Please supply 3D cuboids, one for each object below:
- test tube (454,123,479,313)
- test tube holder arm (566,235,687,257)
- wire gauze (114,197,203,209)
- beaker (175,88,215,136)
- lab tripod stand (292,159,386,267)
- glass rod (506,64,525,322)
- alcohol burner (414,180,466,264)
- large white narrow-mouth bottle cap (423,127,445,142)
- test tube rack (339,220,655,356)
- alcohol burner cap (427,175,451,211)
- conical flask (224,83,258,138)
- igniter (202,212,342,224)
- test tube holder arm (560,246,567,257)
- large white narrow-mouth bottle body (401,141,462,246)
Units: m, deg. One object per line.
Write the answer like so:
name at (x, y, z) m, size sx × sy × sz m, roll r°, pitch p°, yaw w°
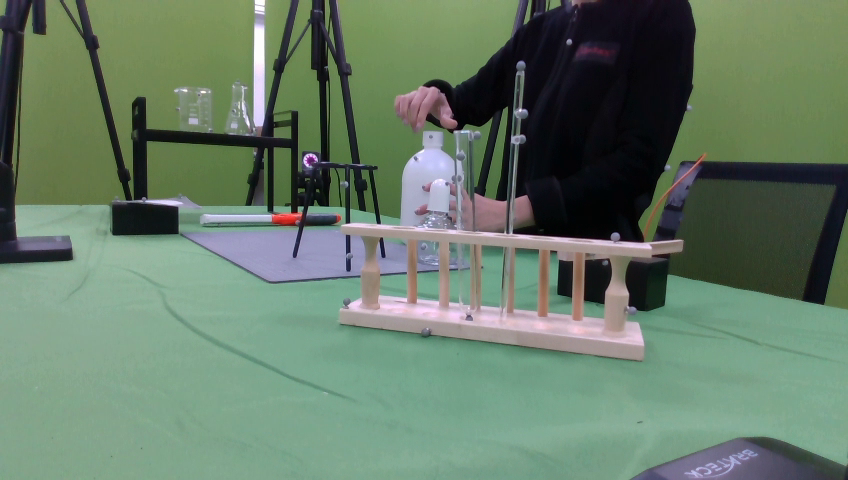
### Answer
test tube at (0.034, -0.016, 0.477) m, size 0.017 × 0.150 × 0.017 m, roll -2°, pitch 9°, yaw 1°
test tube holder arm at (0.215, 0.006, 0.630) m, size 0.179 × 0.015 × 0.013 m, roll -3°, pitch 9°, yaw -31°
wire gauze at (-0.447, -0.062, 1.015) m, size 0.126 × 0.011 × 0.121 m, roll -2°, pitch 8°, yaw -31°
beaker at (-0.511, -0.285, 1.353) m, size 0.084 × 0.100 × 0.073 m, roll -2°, pitch 8°, yaw -25°
lab tripod stand at (-0.105, -0.039, 0.798) m, size 0.148 × 0.131 × 0.148 m, roll 2°, pitch 5°, yaw 0°
glass rod at (0.069, -0.030, 0.458) m, size 0.008 × 0.199 × 0.008 m, roll 0°, pitch 15°, yaw 0°
alcohol burner at (0.021, -0.028, 0.826) m, size 0.078 × 0.119 × 0.078 m, roll 0°, pitch 6°, yaw 0°
large white narrow-mouth bottle cap at (0.016, -0.177, 1.017) m, size 0.038 × 0.024 × 0.037 m, roll 2°, pitch 8°, yaw 0°
test tube rack at (0.056, 0.032, 0.495) m, size 0.242 × 0.085 × 0.067 m, roll 4°, pitch 7°, yaw 15°
alcohol burner cap at (0.023, -0.064, 0.822) m, size 0.034 × 0.048 × 0.034 m, roll 7°, pitch 5°, yaw 0°
conical flask at (-0.422, -0.299, 1.395) m, size 0.075 × 0.122 × 0.075 m, roll 2°, pitch 7°, yaw 0°
igniter at (-0.298, -0.044, 1.216) m, size 0.278 × 0.025 × 0.057 m, roll -2°, pitch -2°, yaw -33°
test tube holder arm at (0.173, 0.007, 0.612) m, size 0.088 × 0.015 × 0.010 m, roll -3°, pitch 9°, yaw -30°
large white narrow-mouth bottle body at (0.014, -0.092, 1.030) m, size 0.102 × 0.194 × 0.102 m, roll 2°, pitch 8°, yaw 0°
